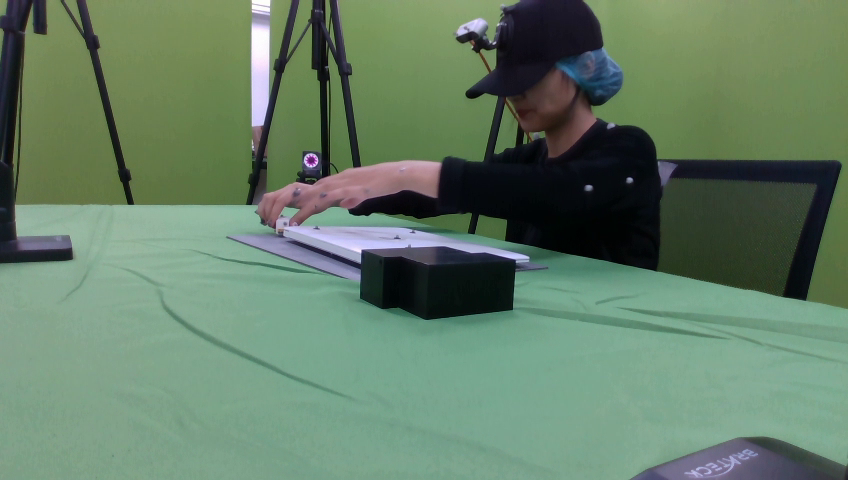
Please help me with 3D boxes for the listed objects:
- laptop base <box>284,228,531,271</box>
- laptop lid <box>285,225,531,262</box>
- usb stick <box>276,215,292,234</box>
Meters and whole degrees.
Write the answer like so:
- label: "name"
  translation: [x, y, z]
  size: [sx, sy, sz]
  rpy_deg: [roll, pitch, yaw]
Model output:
- label: "laptop base"
  translation: [-0.042, 0.012, 0.900]
  size: [0.237, 0.023, 0.352]
  rpy_deg: [2, 6, -33]
- label: "laptop lid"
  translation: [-0.040, 0.000, 0.900]
  size: [0.243, 0.013, 0.355]
  rpy_deg: [0, 7, -31]
- label: "usb stick"
  translation: [-0.242, -0.025, 1.039]
  size: [0.021, 0.027, 0.059]
  rpy_deg: [3, 15, -5]
